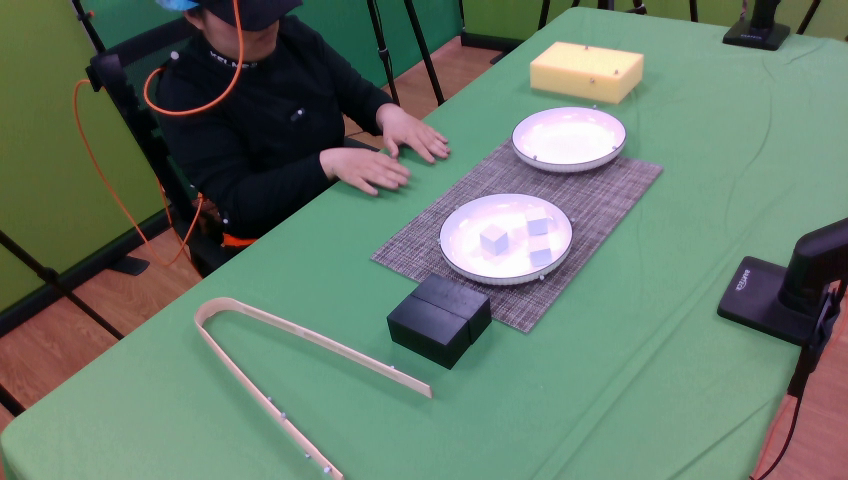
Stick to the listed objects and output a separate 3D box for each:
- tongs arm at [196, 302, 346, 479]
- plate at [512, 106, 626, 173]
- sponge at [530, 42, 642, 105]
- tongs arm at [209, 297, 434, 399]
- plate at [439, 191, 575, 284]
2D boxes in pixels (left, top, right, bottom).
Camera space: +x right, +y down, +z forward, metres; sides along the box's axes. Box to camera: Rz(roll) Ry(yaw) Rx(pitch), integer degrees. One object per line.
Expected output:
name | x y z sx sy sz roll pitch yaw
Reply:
tongs arm | -0.206 0.185 0.791 0.381 0.026 0.051 28 51 37
plate | 0.269 -0.185 1.132 0.209 0.038 0.208 -5 40 5
sponge | 0.350 -0.365 1.317 0.205 0.061 0.118 21 50 31
tongs arm | -0.153 0.143 0.837 0.385 0.028 0.028 16 49 28
plate | 0.129 -0.001 0.942 0.207 0.039 0.206 -5 40 5
